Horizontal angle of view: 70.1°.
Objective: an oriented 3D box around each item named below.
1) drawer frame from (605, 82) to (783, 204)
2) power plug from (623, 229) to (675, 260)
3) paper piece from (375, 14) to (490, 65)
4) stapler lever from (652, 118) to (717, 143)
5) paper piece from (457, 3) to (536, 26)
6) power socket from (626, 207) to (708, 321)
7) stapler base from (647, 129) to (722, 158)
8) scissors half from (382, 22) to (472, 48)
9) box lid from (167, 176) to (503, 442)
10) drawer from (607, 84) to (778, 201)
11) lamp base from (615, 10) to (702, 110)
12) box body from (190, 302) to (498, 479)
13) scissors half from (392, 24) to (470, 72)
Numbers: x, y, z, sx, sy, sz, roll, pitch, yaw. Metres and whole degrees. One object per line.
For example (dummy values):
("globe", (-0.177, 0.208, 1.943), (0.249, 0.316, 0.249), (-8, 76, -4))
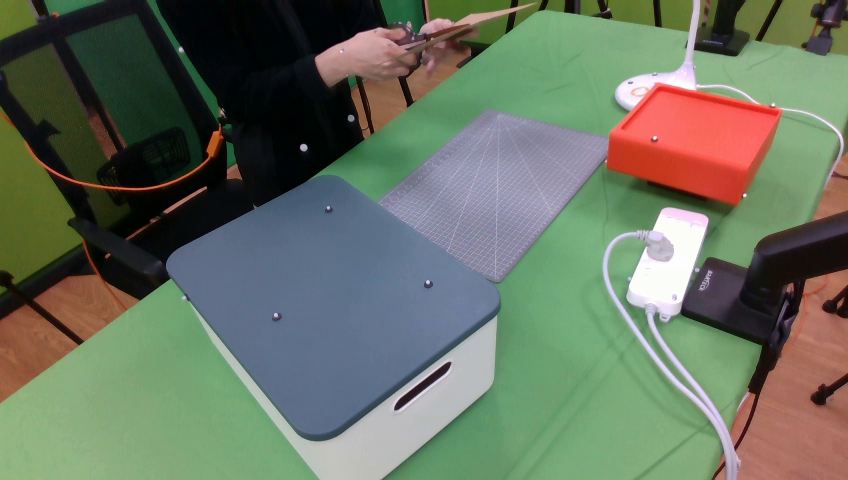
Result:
("drawer frame", (0.441, -0.167, 0.995), (0.212, 0.083, 0.202), (23, 48, 30))
("power plug", (0.327, 0.007, 0.878), (0.072, 0.053, 0.035), (25, 51, 33))
("paper piece", (0.009, -0.288, 0.877), (0.136, 0.004, 0.134), (-35, 18, -37))
("stapler lever", (0.436, -0.192, 1.014), (0.118, 0.040, 0.026), (-16, 25, -16))
("paper piece", (0.089, -0.350, 0.961), (0.137, 0.009, 0.136), (3, 26, 44))
("power socket", (0.360, 0.026, 0.886), (0.072, 0.033, 0.227), (16, 46, 26))
("stapler base", (0.439, -0.167, 1.023), (0.131, 0.024, 0.041), (-16, 25, -15))
("scissors half", (0.001, -0.324, 0.952), (0.174, 0.040, 0.013), (11, 46, 34))
("box lid", (-0.119, 0.047, 0.714), (0.264, 0.015, 0.368), (-32, 47, -27))
("drawer", (0.438, -0.167, 0.995), (0.210, 0.073, 0.195), (23, 48, 30))
("lamp base", (0.484, -0.364, 1.211), (0.180, 0.181, 0.159), (-15, 41, -14))
("box body", (-0.110, 0.103, 0.761), (0.255, 0.161, 0.361), (-33, 46, -27))
("scissors half", (0.010, -0.307, 0.961), (0.174, 0.040, 0.013), (-14, 24, 48))
